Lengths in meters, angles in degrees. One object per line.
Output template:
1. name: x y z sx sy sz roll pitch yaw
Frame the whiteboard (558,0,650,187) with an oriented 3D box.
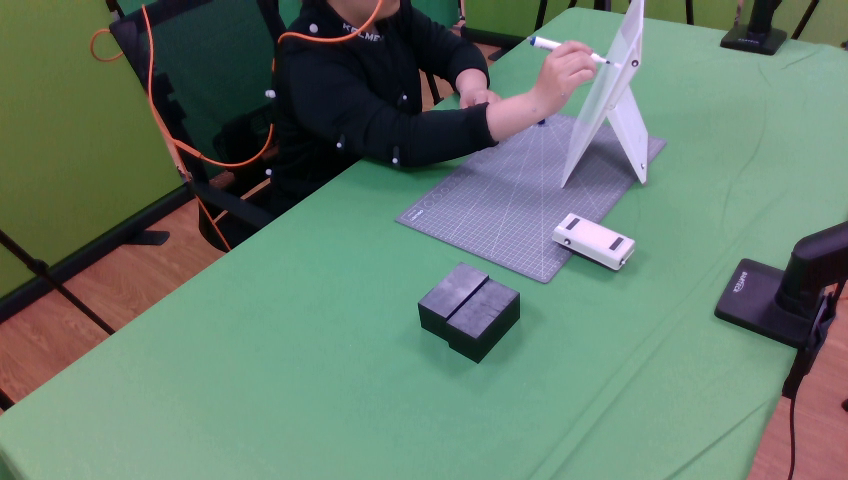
1. whiteboard: 0.362 -0.238 1.026 0.144 0.306 0.217 21 45 4

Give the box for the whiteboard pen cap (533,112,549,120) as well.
1. whiteboard pen cap: 0.239 -0.254 1.238 0.018 0.018 0.033 -29 27 -23

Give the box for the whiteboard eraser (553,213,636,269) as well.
1. whiteboard eraser: 0.258 0.003 0.918 0.112 0.042 0.056 27 49 30

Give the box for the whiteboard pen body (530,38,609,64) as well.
1. whiteboard pen body: 0.245 -0.313 1.011 0.141 0.017 0.017 13 41 -6
